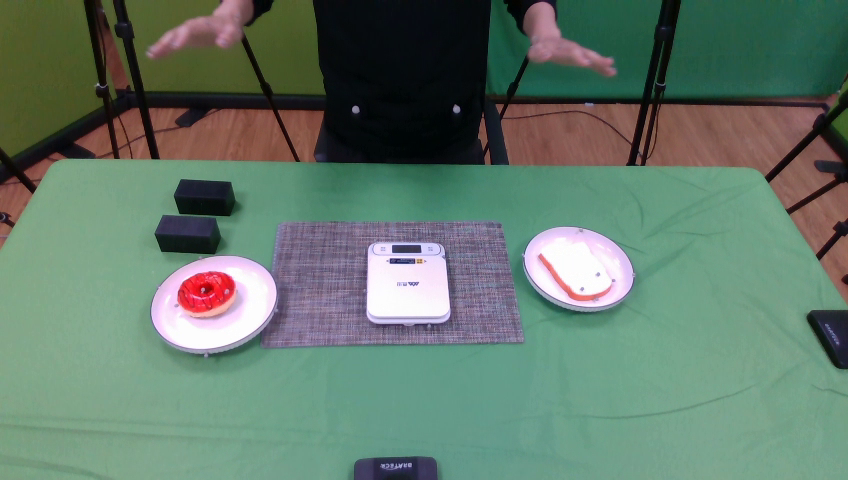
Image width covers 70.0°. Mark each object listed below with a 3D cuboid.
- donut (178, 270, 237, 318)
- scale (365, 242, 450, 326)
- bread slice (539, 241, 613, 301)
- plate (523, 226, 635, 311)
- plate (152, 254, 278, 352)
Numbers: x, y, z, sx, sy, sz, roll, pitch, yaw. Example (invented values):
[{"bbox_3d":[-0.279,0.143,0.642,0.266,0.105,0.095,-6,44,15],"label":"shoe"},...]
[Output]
[{"bbox_3d":[-0.375,0.092,1.053,0.099,0.048,0.098,1,42,0],"label":"donut"},{"bbox_3d":[-0.032,0.071,1.113,0.149,0.032,0.199,0,46,-4],"label":"scale"},{"bbox_3d":[0.297,0.058,1.153,0.105,0.019,0.130,-15,50,-18],"label":"bread slice"},{"bbox_3d":[0.291,0.058,1.151,0.209,0.038,0.208,2,45,-2],"label":"plate"},{"bbox_3d":[-0.357,0.111,1.052,0.208,0.039,0.206,2,46,-2],"label":"plate"}]
